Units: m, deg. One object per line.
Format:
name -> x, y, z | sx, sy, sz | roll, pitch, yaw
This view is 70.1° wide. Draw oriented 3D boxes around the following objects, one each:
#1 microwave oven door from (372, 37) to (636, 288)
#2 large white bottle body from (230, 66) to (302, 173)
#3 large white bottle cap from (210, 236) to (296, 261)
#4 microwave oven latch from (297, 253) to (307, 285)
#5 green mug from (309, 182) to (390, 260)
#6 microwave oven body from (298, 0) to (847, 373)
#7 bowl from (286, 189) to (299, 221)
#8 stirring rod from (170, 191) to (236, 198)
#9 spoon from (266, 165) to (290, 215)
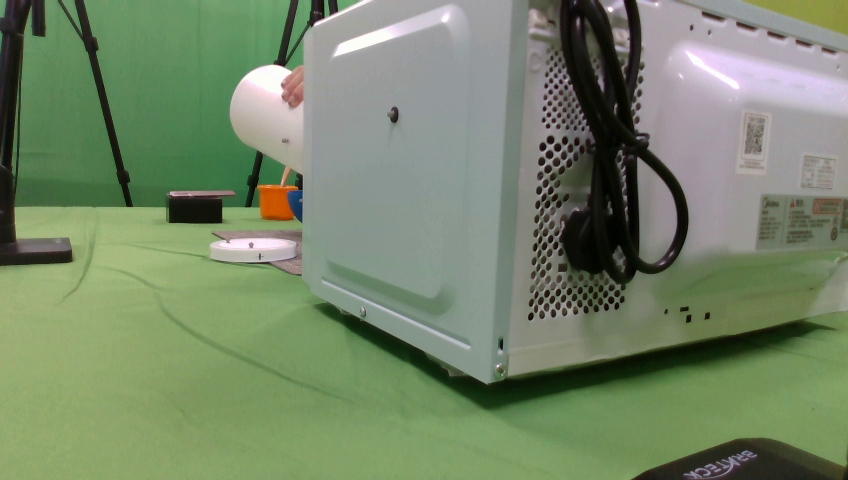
microwave oven door -> 0.110, -0.080, 0.687 | 0.358, 0.243, 0.039 | -2, 9, -33
large white bottle body -> -0.176, -0.168, 0.888 | 0.184, 0.130, 0.131 | 28, 19, 28
large white bottle cap -> -0.236, 0.011, 0.839 | 0.115, 0.018, 0.115 | -1, 10, 0
microwave oven latch -> -0.082, 0.027, 0.583 | 0.079, 0.029, 0.030 | -1, 8, -33
green mug -> -0.102, -0.029, 0.864 | 0.126, 0.105, 0.092 | -4, 8, -40
microwave oven body -> 0.151, -0.055, 0.543 | 0.444, 0.260, 0.324 | -1, 8, -33
bowl -> -0.179, -0.051, 1.115 | 0.151, 0.077, 0.151 | 3, 8, 0
stirring rod -> -0.465, -0.098, 1.283 | 0.014, 0.006, 0.177 | 42, 21, 17
spoon -> -0.334, -0.128, 1.423 | 0.041, 0.193, 0.022 | 0, -37, 7
